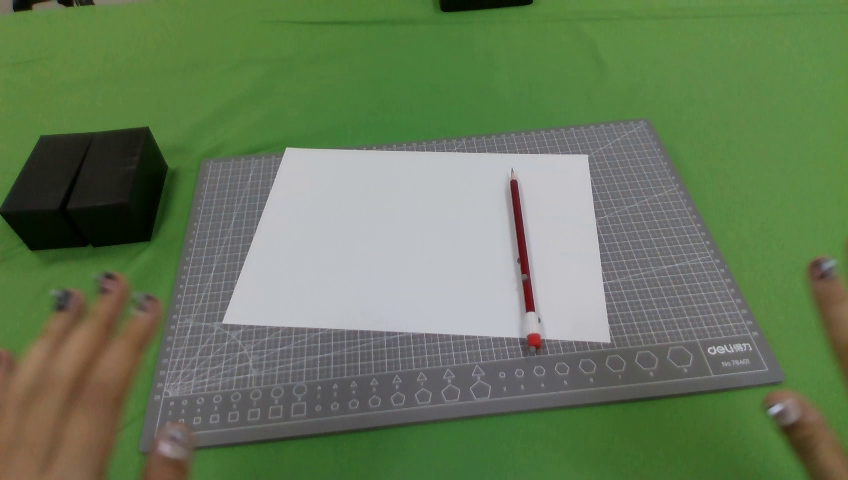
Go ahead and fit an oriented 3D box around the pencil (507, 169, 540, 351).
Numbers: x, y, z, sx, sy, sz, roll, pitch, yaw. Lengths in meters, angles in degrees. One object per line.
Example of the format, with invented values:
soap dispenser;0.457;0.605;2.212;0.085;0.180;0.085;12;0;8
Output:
pencil;0.080;0.007;0.505;0.012;0.012;0.192;-1;50;1
